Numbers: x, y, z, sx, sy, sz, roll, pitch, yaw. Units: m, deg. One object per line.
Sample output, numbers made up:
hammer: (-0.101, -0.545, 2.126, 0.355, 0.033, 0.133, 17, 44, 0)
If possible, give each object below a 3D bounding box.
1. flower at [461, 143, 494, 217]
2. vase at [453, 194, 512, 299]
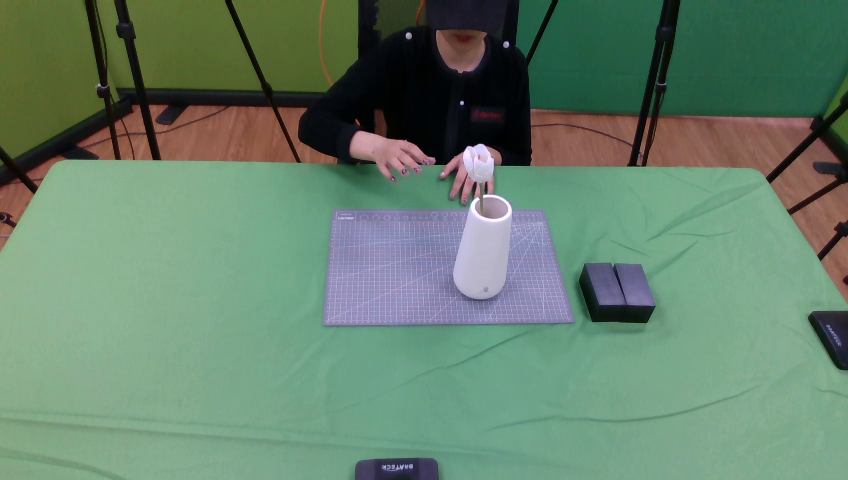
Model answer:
flower: (0.097, -0.035, 0.998, 0.044, 0.363, 0.038, 19, 65, 19)
vase: (0.107, 0.016, 1.065, 0.098, 0.201, 0.097, 3, 47, -3)
